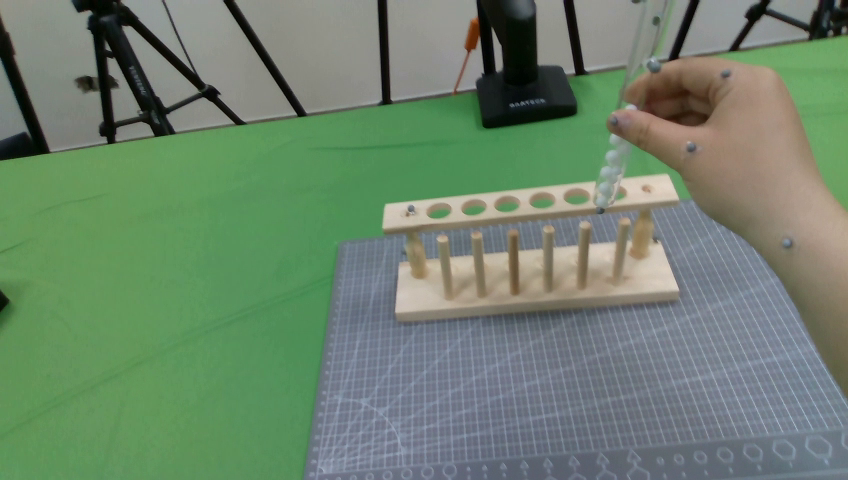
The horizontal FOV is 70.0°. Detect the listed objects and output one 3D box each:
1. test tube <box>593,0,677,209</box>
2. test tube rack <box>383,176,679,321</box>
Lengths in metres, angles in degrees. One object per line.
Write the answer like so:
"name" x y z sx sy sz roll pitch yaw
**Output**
"test tube" 0.123 -0.076 0.362 0.017 0.151 0.017 0 46 0
"test tube rack" 0.091 0.010 0.526 0.242 0.086 0.066 -5 42 7
